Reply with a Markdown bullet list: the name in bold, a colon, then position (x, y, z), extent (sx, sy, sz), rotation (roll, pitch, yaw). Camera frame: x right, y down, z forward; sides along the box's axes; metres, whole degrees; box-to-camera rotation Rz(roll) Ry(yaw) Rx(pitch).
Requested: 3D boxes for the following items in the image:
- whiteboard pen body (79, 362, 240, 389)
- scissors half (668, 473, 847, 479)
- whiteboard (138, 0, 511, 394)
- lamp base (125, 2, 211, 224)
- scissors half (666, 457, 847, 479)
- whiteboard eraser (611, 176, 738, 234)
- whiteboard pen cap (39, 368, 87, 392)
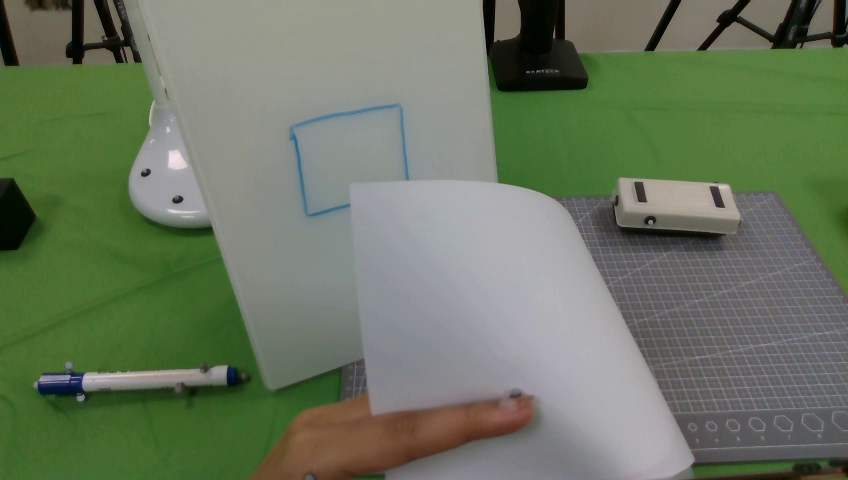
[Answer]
- **whiteboard pen body**: position (-0.218, 0.107, 0.475), extent (0.141, 0.017, 0.017), rotation (-2, 44, -7)
- **scissors half**: position (0.153, 0.083, 0.213), extent (0.175, 0.040, 0.012), rotation (-11, 76, 19)
- **whiteboard**: position (-0.067, -0.069, 0.494), extent (0.217, 0.308, 0.142), rotation (-17, 28, -15)
- **lamp base**: position (-0.244, -0.134, 0.607), extent (0.177, 0.182, 0.160), rotation (29, 51, 29)
- **scissors half**: position (0.158, 0.088, 0.234), extent (0.175, 0.040, 0.012), rotation (-5, 72, -2)
- **whiteboard eraser**: position (0.245, -0.033, 0.600), extent (0.112, 0.042, 0.055), rotation (3, 43, 4)
- **whiteboard pen cap**: position (-0.277, 0.109, 0.469), extent (0.033, 0.018, 0.018), rotation (0, 44, -9)
